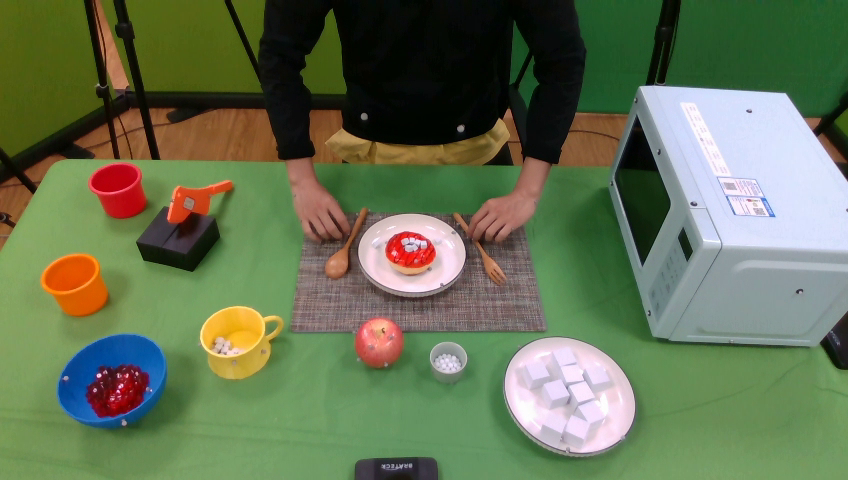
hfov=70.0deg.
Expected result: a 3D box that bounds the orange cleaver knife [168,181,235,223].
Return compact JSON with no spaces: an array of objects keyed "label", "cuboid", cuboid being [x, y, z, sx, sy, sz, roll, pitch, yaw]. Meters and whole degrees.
[{"label":"orange cleaver knife","cuboid":[-0.436,-0.078,1.196,0.012,0.077,0.211,16,15,10]}]

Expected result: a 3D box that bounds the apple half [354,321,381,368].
[{"label":"apple half","cuboid":[-0.097,0.176,0.985,0.033,0.081,0.080,-12,48,-20]}]

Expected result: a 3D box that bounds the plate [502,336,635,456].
[{"label":"plate","cuboid":[0.225,0.248,0.963,0.208,0.039,0.206,2,46,-2]}]

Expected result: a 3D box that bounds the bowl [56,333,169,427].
[{"label":"bowl","cuboid":[-0.456,0.222,0.911,0.151,0.077,0.150,3,46,-2]}]

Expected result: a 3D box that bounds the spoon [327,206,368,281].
[{"label":"spoon","cuboid":[-0.145,0.003,1.187,0.041,0.022,0.193,15,47,4]}]

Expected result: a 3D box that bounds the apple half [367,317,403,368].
[{"label":"apple half","cuboid":[-0.062,0.167,0.998,0.053,0.075,0.080,-11,44,-21]}]

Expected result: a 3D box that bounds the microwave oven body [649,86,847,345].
[{"label":"microwave oven body","cuboid":[0.568,-0.053,1.118,0.326,0.261,0.439,2,45,-1]}]

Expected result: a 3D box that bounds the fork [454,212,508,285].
[{"label":"fork","cuboid":[0.107,0.011,1.191,0.019,0.028,0.206,19,29,-40]}]

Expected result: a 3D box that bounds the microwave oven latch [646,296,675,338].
[{"label":"microwave oven latch","cuboid":[0.412,0.134,1.061,0.030,0.029,0.078,4,45,1]}]

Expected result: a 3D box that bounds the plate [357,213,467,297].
[{"label":"plate","cuboid":[-0.023,0.032,1.150,0.209,0.038,0.208,2,46,-2]}]

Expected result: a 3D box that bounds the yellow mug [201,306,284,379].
[{"label":"yellow mug","cuboid":[-0.291,0.160,0.993,0.131,0.064,0.099,-23,51,-25]}]

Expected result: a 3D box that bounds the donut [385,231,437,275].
[{"label":"donut","cuboid":[-0.025,0.024,1.141,0.099,0.048,0.098,3,44,-3]}]

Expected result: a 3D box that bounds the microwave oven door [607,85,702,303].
[{"label":"microwave oven door","cuboid":[0.423,-0.094,1.140,0.039,0.245,0.353,2,46,-1]}]

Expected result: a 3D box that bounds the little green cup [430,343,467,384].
[{"label":"little green cup","cuboid":[0.039,0.203,0.994,0.061,0.039,0.061,2,46,-2]}]
